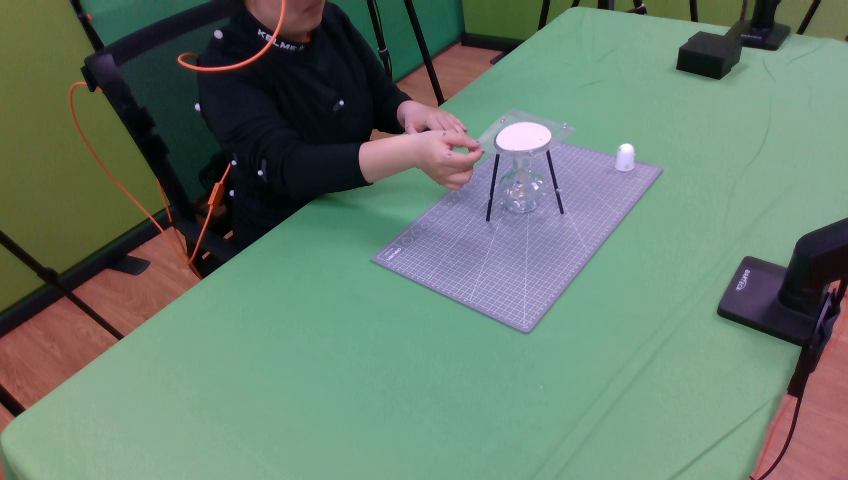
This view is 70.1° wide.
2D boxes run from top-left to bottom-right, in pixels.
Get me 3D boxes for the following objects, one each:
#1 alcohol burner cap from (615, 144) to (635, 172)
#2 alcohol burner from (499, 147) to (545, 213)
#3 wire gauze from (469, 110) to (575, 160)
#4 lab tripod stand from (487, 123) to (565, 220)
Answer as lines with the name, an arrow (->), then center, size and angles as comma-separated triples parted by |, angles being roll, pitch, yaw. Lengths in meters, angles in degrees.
alcohol burner cap -> 0.357, -0.147, 1.069 | 0.034, 0.048, 0.033 | -7, 40, 6
alcohol burner -> 0.161, -0.104, 1.001 | 0.078, 0.120, 0.077 | -6, 42, 6
wire gauze -> 0.154, -0.164, 0.951 | 0.120, 0.011, 0.125 | 23, 49, 35
lab tripod stand -> 0.162, -0.110, 0.992 | 0.148, 0.132, 0.147 | -5, 42, 5
